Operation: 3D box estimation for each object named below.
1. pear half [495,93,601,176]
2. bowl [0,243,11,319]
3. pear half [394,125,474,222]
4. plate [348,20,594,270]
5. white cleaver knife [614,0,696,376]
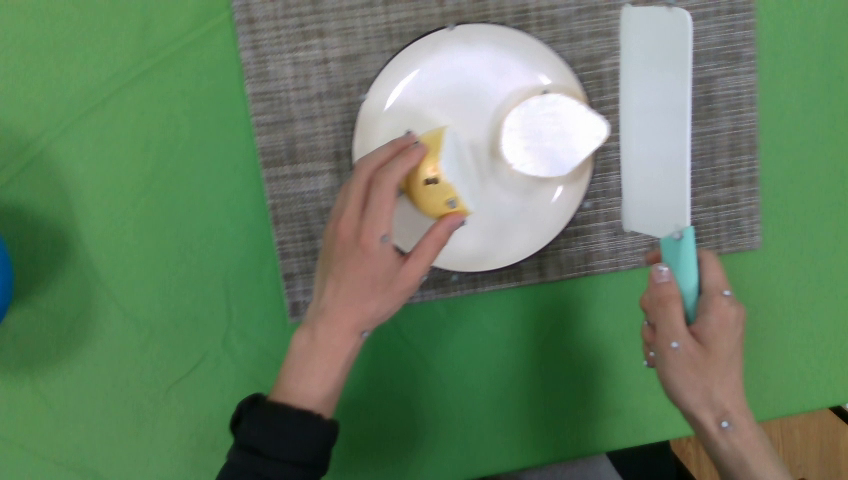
[{"bbox_3d":[0.106,-0.090,0.520,0.088,0.031,0.070,-2,96,11],"label":"pear half"},{"bbox_3d":[-0.401,0.026,0.488,0.151,0.076,0.152,-1,100,-5],"label":"bowl"},{"bbox_3d":[0.001,-0.048,0.477,0.056,0.110,0.076,-23,91,15],"label":"pear half"},{"bbox_3d":[0.040,-0.079,0.524,0.208,0.039,0.208,-1,100,-4],"label":"plate"},{"bbox_3d":[0.171,-0.028,0.448,0.021,0.065,0.288,-19,112,-28],"label":"white cleaver knife"}]
